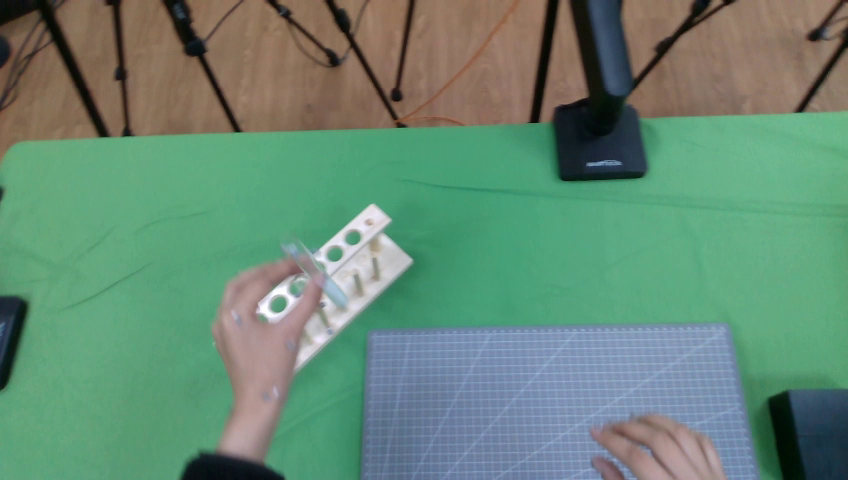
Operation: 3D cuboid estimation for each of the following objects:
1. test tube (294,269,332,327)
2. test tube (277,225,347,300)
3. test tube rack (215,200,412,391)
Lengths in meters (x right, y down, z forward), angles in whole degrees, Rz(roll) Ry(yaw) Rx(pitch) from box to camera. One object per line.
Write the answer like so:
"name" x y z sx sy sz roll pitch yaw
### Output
"test tube" -0.125 0.068 0.691 0.017 0.151 0.017 -1 63 2
"test tube" -0.098 0.025 0.553 0.017 0.151 0.017 -4 64 9
"test tube rack" -0.126 0.067 0.740 0.066 0.086 0.242 42 74 18
